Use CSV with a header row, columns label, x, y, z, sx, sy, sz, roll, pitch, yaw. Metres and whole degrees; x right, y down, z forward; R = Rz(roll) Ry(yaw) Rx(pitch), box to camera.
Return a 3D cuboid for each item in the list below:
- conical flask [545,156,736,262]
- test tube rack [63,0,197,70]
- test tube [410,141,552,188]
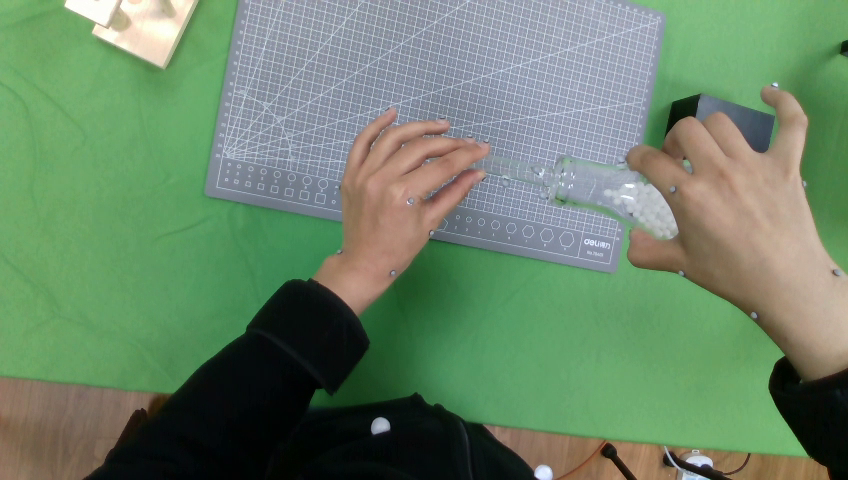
label,x,y,z,sx,sy,sz,roll,pitch,yaw
conical flask,0.152,-0.031,0.439,0.122,0.075,0.075,12,90,-2
test tube rack,-0.215,-0.281,0.528,0.067,0.085,0.242,25,87,-14
test tube,0.041,-0.064,0.501,0.017,0.149,0.017,-19,118,-40
